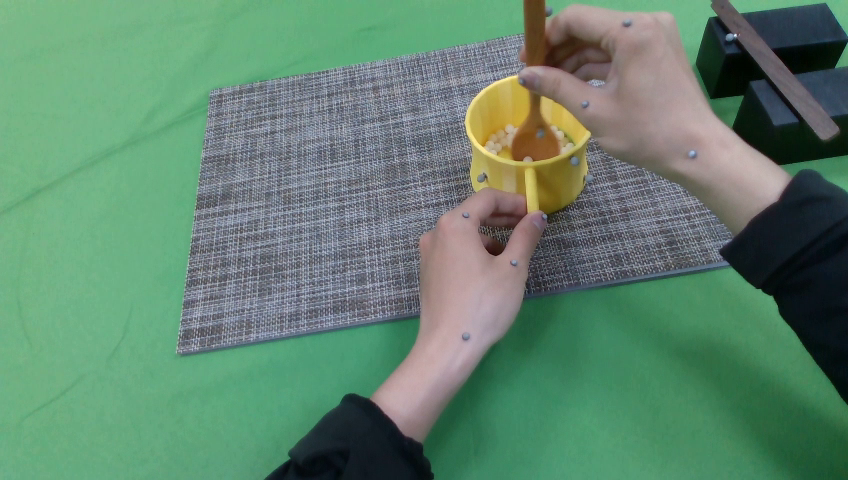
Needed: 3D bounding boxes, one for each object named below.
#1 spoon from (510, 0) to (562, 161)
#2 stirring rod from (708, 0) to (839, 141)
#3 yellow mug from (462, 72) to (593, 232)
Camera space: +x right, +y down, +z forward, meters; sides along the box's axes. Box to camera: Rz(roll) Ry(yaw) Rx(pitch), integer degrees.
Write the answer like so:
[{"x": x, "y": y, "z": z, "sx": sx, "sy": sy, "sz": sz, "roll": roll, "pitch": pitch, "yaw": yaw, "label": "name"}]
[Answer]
[{"x": 0.078, "y": -0.104, "z": 0.425, "sx": 0.041, "sy": 0.195, "sz": 0.021, "roll": 1, "pitch": 68, "yaw": 11, "label": "spoon"}, {"x": 0.274, "y": -0.144, "z": 0.485, "sx": 0.014, "sy": 0.006, "sz": 0.174, "roll": -36, "pitch": 51, "yaw": 28, "label": "stirring rod"}, {"x": 0.083, "y": -0.066, "z": 0.485, "sx": 0.100, "sy": 0.064, "sz": 0.129, "roll": -3, "pitch": 57, "yaw": 7, "label": "yellow mug"}]
